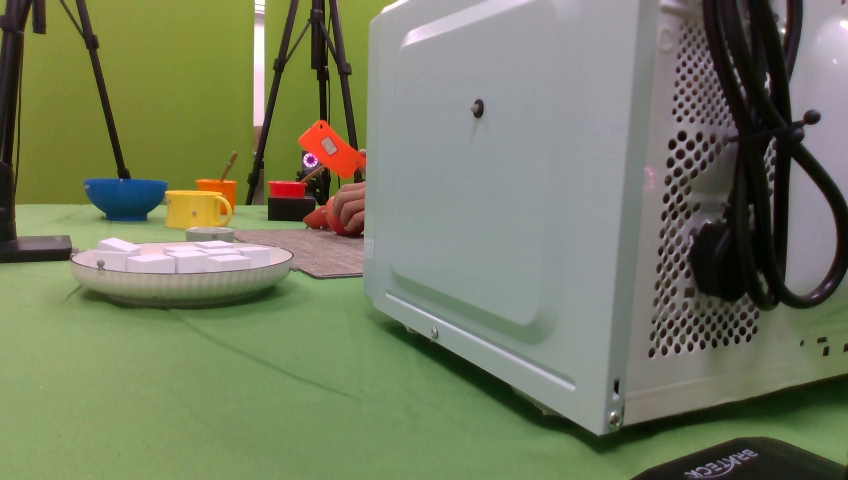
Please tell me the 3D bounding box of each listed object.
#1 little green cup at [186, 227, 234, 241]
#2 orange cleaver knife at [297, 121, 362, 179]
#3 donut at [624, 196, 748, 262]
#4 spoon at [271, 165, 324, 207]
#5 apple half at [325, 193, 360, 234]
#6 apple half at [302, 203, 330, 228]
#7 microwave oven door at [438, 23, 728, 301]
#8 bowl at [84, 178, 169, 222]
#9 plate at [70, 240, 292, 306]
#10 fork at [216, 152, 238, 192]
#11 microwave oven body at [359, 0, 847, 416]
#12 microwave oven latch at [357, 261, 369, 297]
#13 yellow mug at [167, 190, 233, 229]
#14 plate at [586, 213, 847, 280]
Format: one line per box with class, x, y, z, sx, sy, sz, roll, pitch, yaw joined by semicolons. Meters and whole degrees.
little green cup;-0.285;0.005;0.805;0.061;0.038;0.061;2;8;0
orange cleaver knife;-0.164;-0.169;1.264;0.212;0.077;0.012;32;1;-23
donut;0.222;-0.008;0.519;0.099;0.048;0.099;16;1;0
spoon;-0.307;-0.142;1.514;0.193;0.021;0.041;-41;4;8
apple half;-0.133;-0.047;1.087;0.081;0.074;0.053;2;11;-28
apple half;-0.192;-0.043;1.169;0.081;0.032;0.081;-23;-12;-5
microwave oven door;0.181;-0.072;0.620;0.358;0.243;0.039;-2;8;-29
bowl;-0.584;-0.078;1.194;0.151;0.077;0.151;3;8;0
plate;-0.242;0.032;0.618;0.208;0.039;0.207;2;8;0
fork;-0.455;-0.132;1.367;0.028;0.018;0.207;-2;-35;-37
microwave oven body;0.211;-0.047;0.474;0.444;0.260;0.324;-1;7;-28
microwave oven latch;-0.019;0.033;0.530;0.079;0.029;0.030;-1;7;-27
yellow mug;-0.415;-0.057;1.132;0.130;0.064;0.100;6;8;16
plate;0.243;0.002;0.512;0.209;0.038;0.209;1;7;0
